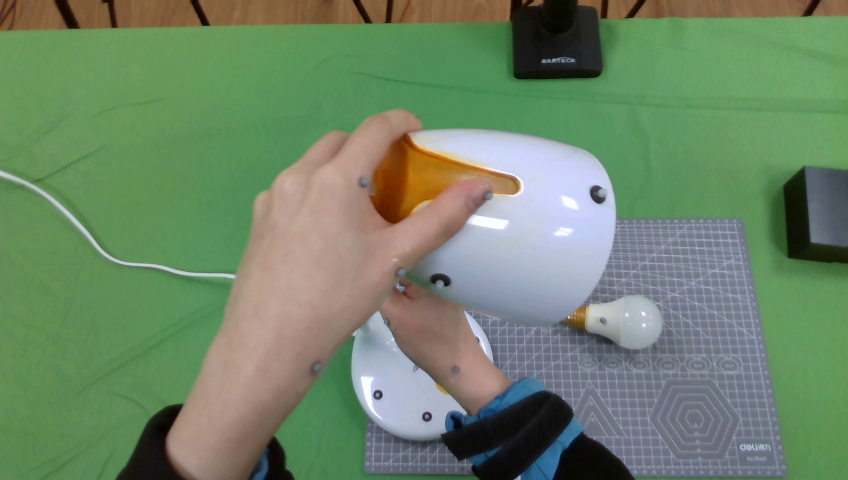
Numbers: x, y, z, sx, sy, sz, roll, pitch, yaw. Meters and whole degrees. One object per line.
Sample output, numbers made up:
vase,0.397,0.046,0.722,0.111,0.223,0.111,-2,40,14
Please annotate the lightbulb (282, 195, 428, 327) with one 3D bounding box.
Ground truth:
lightbulb,-0.042,0.016,0.292,0.060,0.107,0.059,14,67,-35

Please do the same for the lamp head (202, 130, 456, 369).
lamp head,-0.058,0.019,0.319,0.113,0.123,0.111,20,56,-32

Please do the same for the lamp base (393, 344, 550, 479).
lamp base,0.041,0.161,0.607,0.179,0.182,0.159,9,67,11
